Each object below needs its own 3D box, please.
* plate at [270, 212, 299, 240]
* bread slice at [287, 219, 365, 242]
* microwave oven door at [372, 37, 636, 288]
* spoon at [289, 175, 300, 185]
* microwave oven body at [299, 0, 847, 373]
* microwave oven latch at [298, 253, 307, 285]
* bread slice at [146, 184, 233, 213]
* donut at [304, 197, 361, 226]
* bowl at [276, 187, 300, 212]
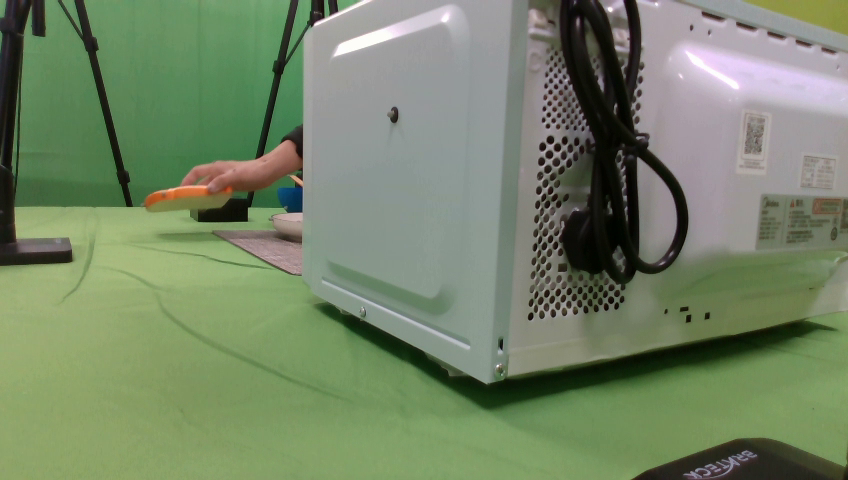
[{"bbox_3d":[-0.162,-0.022,1.057,0.208,0.039,0.207,2,7,0],"label":"plate"},{"bbox_3d":[-0.171,-0.018,1.057,0.134,0.018,0.107,6,8,-7],"label":"bread slice"},{"bbox_3d":[0.110,-0.080,0.686,0.358,0.243,0.039,-2,9,-33],"label":"microwave oven door"},{"bbox_3d":[-0.261,-0.111,1.343,0.042,0.021,0.192,-9,34,-29],"label":"spoon"},{"bbox_3d":[0.151,-0.055,0.542,0.444,0.260,0.324,-2,7,-33],"label":"microwave oven body"},{"bbox_3d":[-0.081,0.027,0.582,0.079,0.029,0.030,-1,7,-32],"label":"microwave oven latch"},{"bbox_3d":[-0.404,-0.070,1.036,0.132,0.019,0.104,-10,-7,-33],"label":"bread slice"},{"bbox_3d":[-0.159,-0.050,1.055,0.099,0.048,0.099,3,7,0],"label":"donut"},{"bbox_3d":[-0.241,-0.073,1.302,0.151,0.077,0.151,1,7,0],"label":"bowl"}]
